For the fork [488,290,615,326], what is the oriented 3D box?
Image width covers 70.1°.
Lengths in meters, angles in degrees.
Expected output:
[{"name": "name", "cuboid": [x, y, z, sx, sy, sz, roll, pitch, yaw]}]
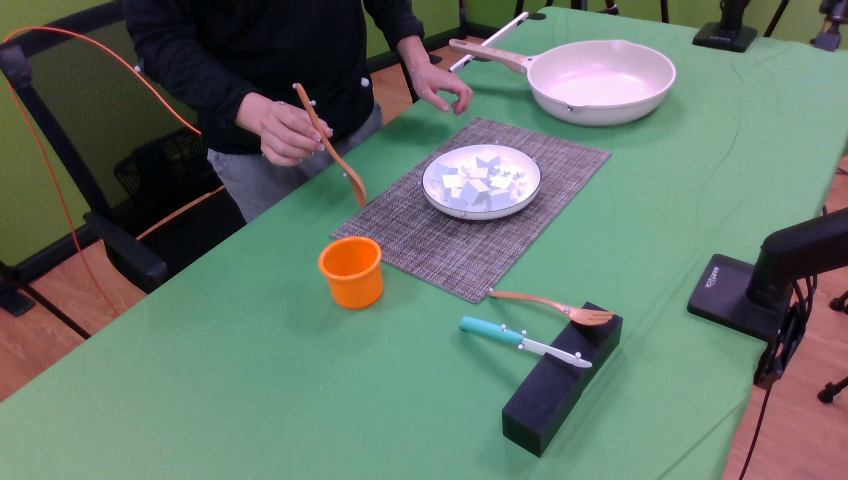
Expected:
[{"name": "fork", "cuboid": [0.160, 0.086, 0.801, 0.205, 0.019, 0.028, 11, 46, 48]}]

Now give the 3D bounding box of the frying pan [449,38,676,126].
[{"name": "frying pan", "cuboid": [0.272, -0.362, 1.287, 0.485, 0.103, 0.307, 23, 48, 19]}]

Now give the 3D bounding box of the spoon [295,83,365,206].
[{"name": "spoon", "cuboid": [-0.127, -0.127, 0.831, 0.022, 0.195, 0.041, -38, 32, -11]}]

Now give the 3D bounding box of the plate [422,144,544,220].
[{"name": "plate", "cuboid": [0.102, -0.097, 1.048, 0.207, 0.039, 0.206, -4, 40, 4]}]

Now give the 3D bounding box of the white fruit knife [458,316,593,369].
[{"name": "white fruit knife", "cuboid": [0.120, 0.127, 0.757, 0.205, 0.027, 0.016, 12, 44, 43]}]
